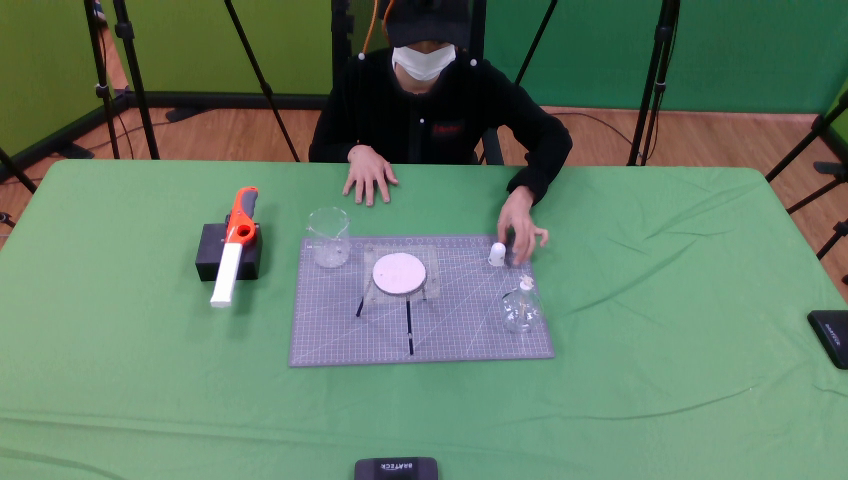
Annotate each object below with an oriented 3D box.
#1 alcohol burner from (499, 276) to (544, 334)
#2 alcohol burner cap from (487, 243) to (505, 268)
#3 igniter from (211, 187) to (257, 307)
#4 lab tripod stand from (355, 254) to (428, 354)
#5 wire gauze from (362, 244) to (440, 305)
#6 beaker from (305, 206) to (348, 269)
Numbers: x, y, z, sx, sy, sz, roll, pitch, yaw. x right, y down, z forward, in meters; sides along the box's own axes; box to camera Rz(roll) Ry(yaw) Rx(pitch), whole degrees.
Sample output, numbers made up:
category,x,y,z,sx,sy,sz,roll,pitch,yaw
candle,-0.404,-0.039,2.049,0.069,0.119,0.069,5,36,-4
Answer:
category,x,y,z,sx,sy,sz,roll,pitch,yaw
alcohol burner,0.170,0.106,1.041,0.078,0.120,0.077,1,44,-1
alcohol burner cap,0.141,0.027,1.167,0.034,0.048,0.033,2,45,-2
igniter,-0.343,0.003,1.100,0.057,0.025,0.274,2,49,-4
lab tripod stand,-0.046,0.100,1.017,0.148,0.132,0.147,1,47,-1
wire gauze,-0.038,0.051,0.971,0.121,0.011,0.124,-1,46,-4
beaker,-0.176,0.001,1.126,0.074,0.101,0.083,-14,49,-16
